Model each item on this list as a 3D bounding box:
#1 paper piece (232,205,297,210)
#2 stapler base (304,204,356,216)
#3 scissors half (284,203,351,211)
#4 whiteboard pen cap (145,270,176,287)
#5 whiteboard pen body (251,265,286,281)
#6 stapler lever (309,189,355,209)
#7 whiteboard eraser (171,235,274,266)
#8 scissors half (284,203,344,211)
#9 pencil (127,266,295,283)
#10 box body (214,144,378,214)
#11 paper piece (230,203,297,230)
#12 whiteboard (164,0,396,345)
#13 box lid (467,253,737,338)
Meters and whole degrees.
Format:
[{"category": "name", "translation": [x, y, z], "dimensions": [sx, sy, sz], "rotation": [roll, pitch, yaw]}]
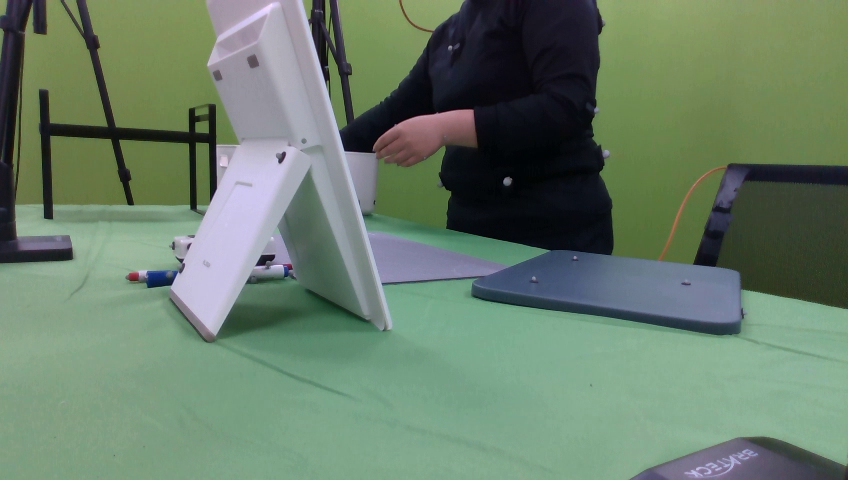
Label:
[{"category": "paper piece", "translation": [-0.388, -0.080, 1.466], "dimensions": [0.136, 0.004, 0.134], "rotation": [-2, 8, -30]}, {"category": "stapler base", "translation": [-0.233, -0.078, 1.510], "dimensions": [0.131, 0.024, 0.041], "rotation": [4, 10, -35]}, {"category": "scissors half", "translation": [-0.269, -0.081, 1.535], "dimensions": [0.176, 0.013, 0.040], "rotation": [-6, 11, -23]}, {"category": "whiteboard pen cap", "translation": [-0.271, 0.039, 0.627], "dimensions": [0.033, 0.018, 0.018], "rotation": [-3, 10, -33]}, {"category": "whiteboard pen body", "translation": [-0.220, 0.039, 0.656], "dimensions": [0.141, 0.017, 0.017], "rotation": [-2, 9, -31]}, {"category": "stapler lever", "translation": [-0.228, -0.103, 1.508], "dimensions": [0.119, 0.040, 0.026], "rotation": [4, 10, -35]}, {"category": "whiteboard eraser", "translation": [-0.248, 0.014, 0.747], "dimensions": [0.113, 0.042, 0.055], "rotation": [-1, 9, -32]}, {"category": "scissors half", "translation": [-0.280, -0.083, 1.552], "dimensions": [0.040, 0.013, 0.176], "rotation": [2, 8, 45]}, {"category": "pencil", "translation": [-0.231, 0.037, 0.690], "dimensions": [0.195, 0.012, 0.012], "rotation": [-2, 9, -34]}, {"category": "box body", "translation": [-0.328, -0.154, 1.543], "dimensions": [0.366, 0.160, 0.253], "rotation": [-2, 9, -32]}, {"category": "paper piece", "translation": [-0.392, -0.060, 1.469], "dimensions": [0.139, 0.008, 0.135], "rotation": [-9, 29, -25]}, {"category": "whiteboard", "translation": [-0.173, -0.053, 0.511], "dimensions": [0.144, 0.305, 0.216], "rotation": [-23, 19, -26]}, {"category": "box lid", "translation": [0.234, 0.054, 0.736], "dimensions": [0.262, 0.015, 0.373], "rotation": [7, 8, 26]}]
